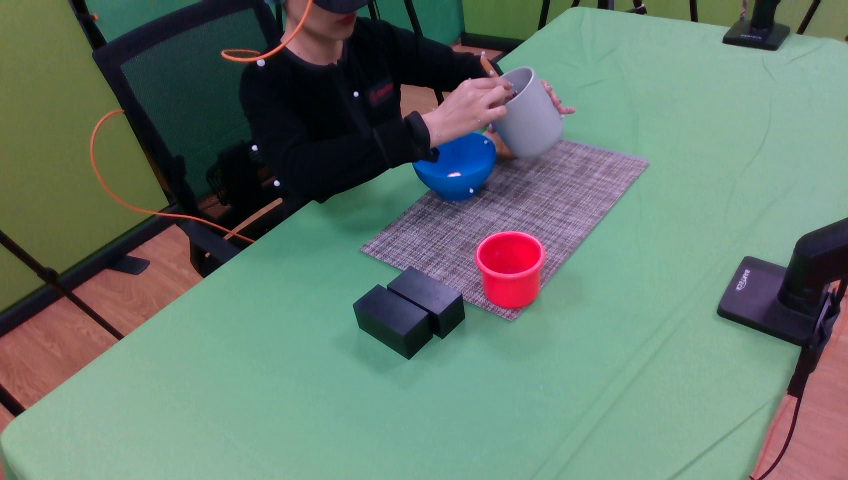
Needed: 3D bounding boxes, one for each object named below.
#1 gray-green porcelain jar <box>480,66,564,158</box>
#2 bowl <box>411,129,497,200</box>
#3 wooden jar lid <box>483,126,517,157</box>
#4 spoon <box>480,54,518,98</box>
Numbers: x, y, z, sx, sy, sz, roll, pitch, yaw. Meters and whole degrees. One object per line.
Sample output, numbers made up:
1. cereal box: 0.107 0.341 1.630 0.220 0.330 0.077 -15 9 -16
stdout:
1. gray-green porcelain jar: 0.172 -0.212 1.031 0.105 0.127 0.105 -28 35 22
2. bowl: 0.056 -0.124 1.069 0.151 0.077 0.150 -5 40 5
3. wooden jar lid: 0.165 -0.195 1.177 0.108 0.021 0.108 -4 40 4
4. spoon: 0.150 -0.240 0.992 0.021 0.195 0.041 12 74 53
